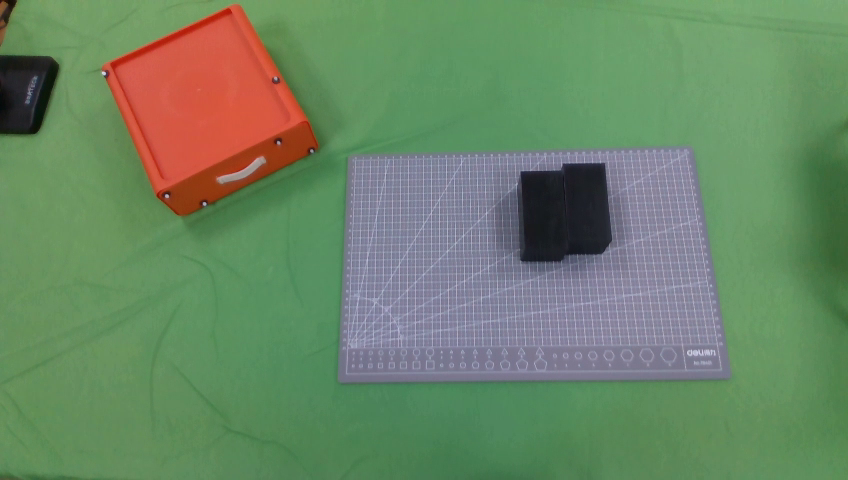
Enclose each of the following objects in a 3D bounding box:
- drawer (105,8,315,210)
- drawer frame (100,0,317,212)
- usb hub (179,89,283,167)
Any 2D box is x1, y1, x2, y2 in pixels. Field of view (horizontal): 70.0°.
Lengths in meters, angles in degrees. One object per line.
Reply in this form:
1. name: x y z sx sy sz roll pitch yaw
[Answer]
1. drawer: -0.276 -0.174 0.787 0.194 0.074 0.210 -29 73 -7
2. drawer frame: -0.278 -0.175 0.787 0.202 0.083 0.212 -30 71 -8
3. usb hub: -0.252 -0.147 0.793 0.125 0.025 0.049 -29 74 -6
